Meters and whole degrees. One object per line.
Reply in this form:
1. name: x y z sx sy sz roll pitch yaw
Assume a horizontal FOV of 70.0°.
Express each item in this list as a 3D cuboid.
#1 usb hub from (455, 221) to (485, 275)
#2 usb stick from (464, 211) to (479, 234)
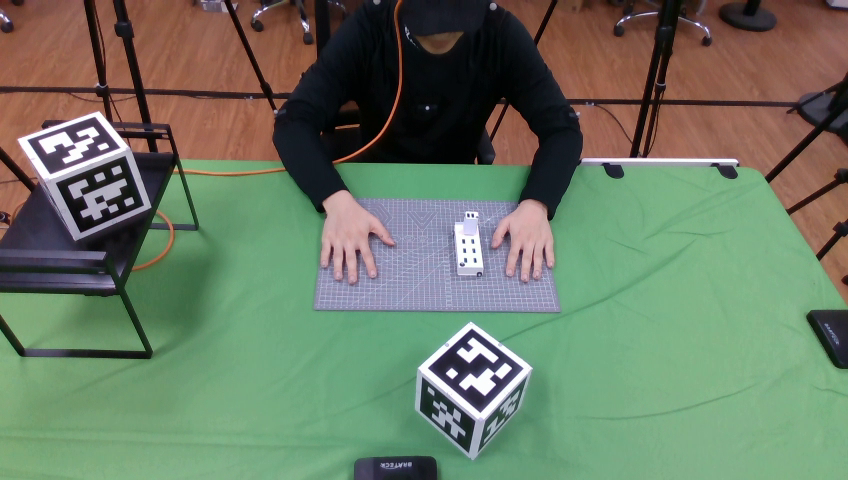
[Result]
1. usb hub: 0.088 0.014 1.178 0.049 0.025 0.124 0 46 -2
2. usb stick: 0.092 -0.029 1.180 0.027 0.059 0.021 0 47 -2
